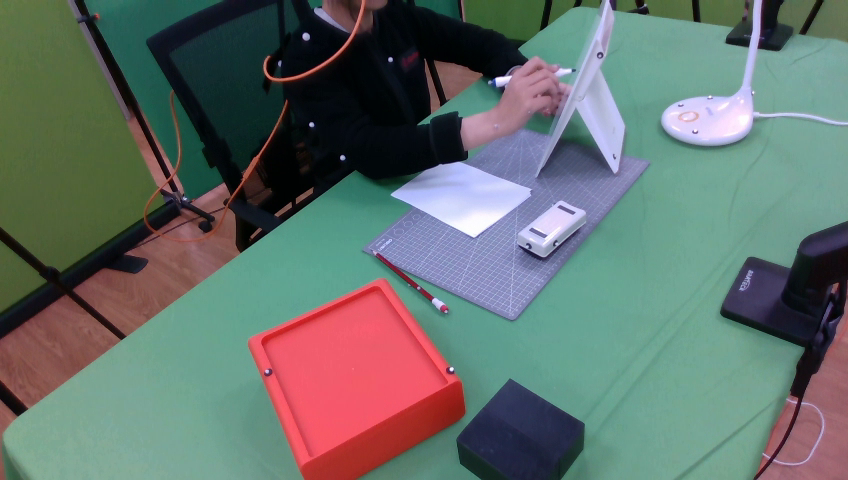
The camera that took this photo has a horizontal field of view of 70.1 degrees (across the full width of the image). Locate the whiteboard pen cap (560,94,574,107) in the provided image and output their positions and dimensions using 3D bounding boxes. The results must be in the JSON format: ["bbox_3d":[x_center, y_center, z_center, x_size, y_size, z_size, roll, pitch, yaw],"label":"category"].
[{"bbox_3d":[0.301,-0.293,1.272,0.018,0.018,0.033,26,50,34],"label":"whiteboard pen cap"}]

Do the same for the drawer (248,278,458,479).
[{"bbox_3d":[-0.092,0.167,0.756,0.195,0.073,0.210,-24,43,-18],"label":"drawer"}]

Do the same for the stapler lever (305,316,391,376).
[{"bbox_3d":[-0.100,0.136,0.790,0.118,0.040,0.026,-23,44,-12],"label":"stapler lever"}]

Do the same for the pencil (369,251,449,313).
[{"bbox_3d":[-0.028,0.060,0.924,0.012,0.012,0.192,-33,46,-25],"label":"pencil"}]

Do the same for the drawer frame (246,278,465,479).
[{"bbox_3d":[-0.088,0.168,0.752,0.202,0.083,0.211,-24,43,-18],"label":"drawer frame"}]

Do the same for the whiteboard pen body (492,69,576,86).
[{"bbox_3d":[0.186,-0.277,1.025,0.140,0.017,0.017,-5,40,12],"label":"whiteboard pen body"}]

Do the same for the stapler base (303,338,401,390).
[{"bbox_3d":[-0.096,0.159,0.813,0.131,0.024,0.041,-17,43,-17],"label":"stapler base"}]

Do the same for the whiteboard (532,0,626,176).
[{"bbox_3d":[0.321,-0.258,1.050,0.144,0.306,0.217,21,45,5],"label":"whiteboard"}]

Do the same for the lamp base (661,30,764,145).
[{"bbox_3d":[0.535,-0.287,1.096,0.179,0.181,0.159,-10,40,-4],"label":"lamp base"}]

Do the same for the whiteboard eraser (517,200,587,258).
[{"bbox_3d":[0.201,-0.016,0.943,0.113,0.042,0.055,-37,46,-29],"label":"whiteboard eraser"}]
